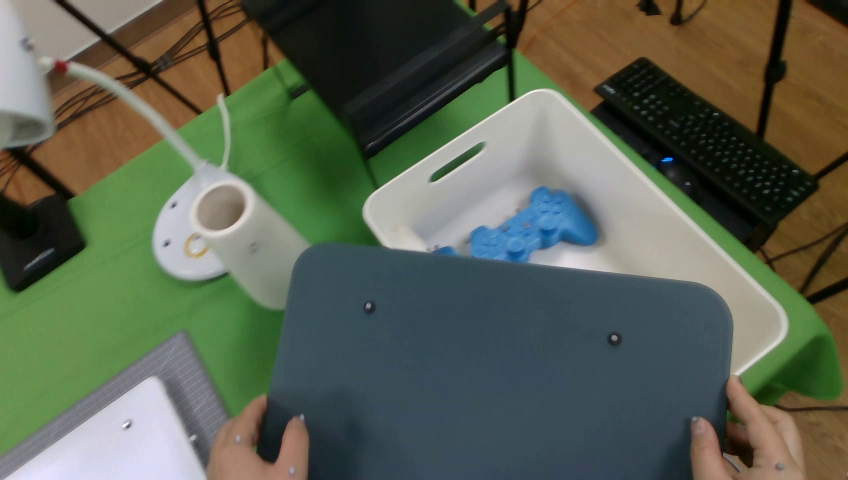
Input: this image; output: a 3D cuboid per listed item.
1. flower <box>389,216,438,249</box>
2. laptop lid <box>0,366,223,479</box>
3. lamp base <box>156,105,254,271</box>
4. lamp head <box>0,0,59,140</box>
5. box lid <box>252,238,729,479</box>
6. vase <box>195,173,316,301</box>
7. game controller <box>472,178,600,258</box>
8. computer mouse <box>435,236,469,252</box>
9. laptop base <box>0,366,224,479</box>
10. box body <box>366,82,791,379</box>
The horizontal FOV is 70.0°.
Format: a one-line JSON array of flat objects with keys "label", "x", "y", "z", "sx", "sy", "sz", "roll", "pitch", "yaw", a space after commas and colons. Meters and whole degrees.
[{"label": "flower", "x": 0.092, "y": 0.101, "z": 0.691, "sx": 0.359, "sy": 0.038, "sz": 0.044, "roll": 44, "pitch": 38, "yaw": 15}, {"label": "laptop lid", "x": -0.401, "y": 0.336, "z": 0.686, "sx": 0.357, "sy": 0.013, "sz": 0.239, "roll": -34, "pitch": 66, "yaw": -7}, {"label": "lamp base", "x": -0.312, "y": -0.075, "z": 0.789, "sx": 0.160, "sy": 0.182, "sz": 0.177, "roll": -5, "pitch": 61, "yaw": 8}, {"label": "lamp head", "x": -0.368, "y": -0.151, "z": 0.499, "sx": 0.112, "sy": 0.113, "sz": 0.122, "roll": -8, "pitch": 81, "yaw": 7}, {"label": "box lid", "x": 0.040, "y": 0.140, "z": 0.492, "sx": 0.370, "sy": 0.015, "sz": 0.262, "roll": 5, "pitch": 81, "yaw": 14}, {"label": "vase", "x": -0.191, "y": 0.000, "z": 0.720, "sx": 0.098, "sy": 0.202, "sz": 0.097, "roll": -5, "pitch": 63, "yaw": 10}, {"label": "game controller", "x": 0.132, "y": -0.012, "z": 0.747, "sx": 0.155, "sy": 0.052, "sz": 0.096, "roll": -33, "pitch": 61, "yaw": -8}, {"label": "computer mouse", "x": 0.039, "y": 0.044, "z": 0.739, "sx": 0.063, "sy": 0.041, "sz": 0.116, "roll": -38, "pitch": 55, "yaw": -6}, {"label": "laptop base", "x": -0.401, "y": 0.339, "z": 0.697, "sx": 0.354, "sy": 0.023, "sz": 0.233, "roll": -36, "pitch": 67, "yaw": -7}, {"label": "box body", "x": 0.143, "y": 0.043, "z": 0.658, "sx": 0.254, "sy": 0.162, "sz": 0.360, "roll": -34, "pitch": 63, "yaw": -6}]
